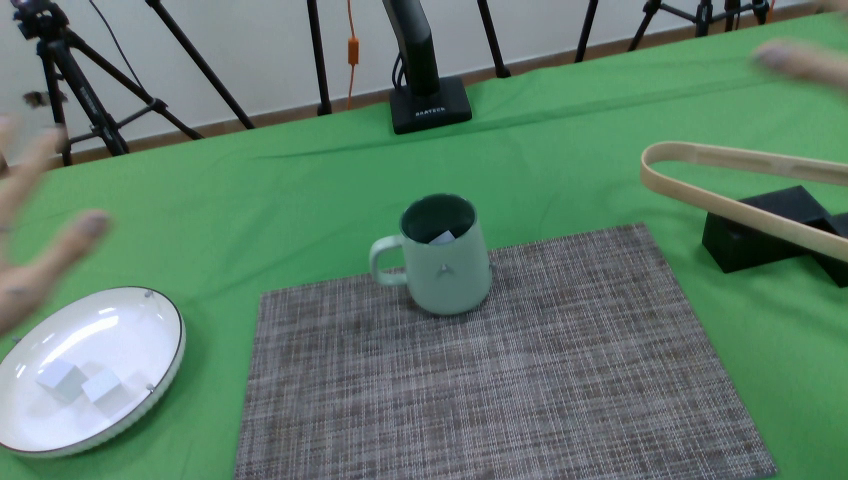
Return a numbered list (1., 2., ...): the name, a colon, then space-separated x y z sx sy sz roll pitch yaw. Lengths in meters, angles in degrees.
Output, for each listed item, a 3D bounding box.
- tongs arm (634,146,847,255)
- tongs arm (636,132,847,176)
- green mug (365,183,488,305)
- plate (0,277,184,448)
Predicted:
1. tongs arm: 0.366 -0.012 0.560 0.384 0.028 0.028 28 64 34
2. tongs arm: 0.410 -0.063 0.599 0.382 0.027 0.050 17 55 27
3. green mug: 0.001 0.009 0.629 0.125 0.106 0.091 -11 44 1
4. plate: -0.354 0.128 0.643 0.209 0.038 0.207 -6 44 6
